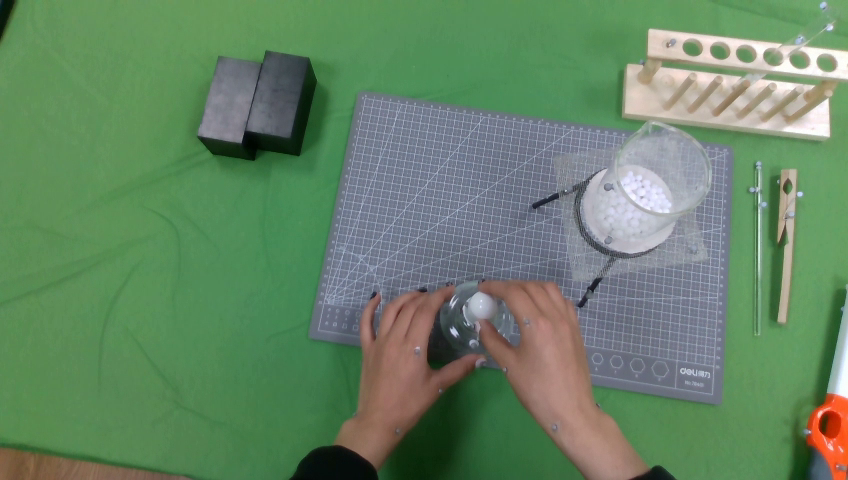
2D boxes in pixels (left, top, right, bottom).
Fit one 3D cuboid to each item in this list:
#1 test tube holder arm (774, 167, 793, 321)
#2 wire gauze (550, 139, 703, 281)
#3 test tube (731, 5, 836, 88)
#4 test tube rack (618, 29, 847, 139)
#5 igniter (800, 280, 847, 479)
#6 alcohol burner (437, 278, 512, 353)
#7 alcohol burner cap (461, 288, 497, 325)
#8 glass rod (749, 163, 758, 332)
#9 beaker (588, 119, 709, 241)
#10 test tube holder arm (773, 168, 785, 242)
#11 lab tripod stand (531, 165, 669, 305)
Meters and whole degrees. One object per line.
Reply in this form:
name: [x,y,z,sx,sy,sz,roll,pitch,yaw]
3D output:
test tube holder arm: [0.407,0.003,0.685,0.013,0.015,0.177,1,75,34]
wire gauze: [0.185,-0.031,0.561,0.121,0.011,0.124,-8,78,1]
test tube: [0.379,-0.201,0.649,0.017,0.150,0.017,1,76,-6]
test tube rack: [0.357,-0.176,0.693,0.242,0.085,0.066,7,76,1]
igniter: [0.435,0.173,0.641,0.057,0.025,0.275,22,77,-5]
alcohol burner: [0.053,0.073,0.613,0.078,0.119,0.077,0,74,-1]
alcohol burner cap: [0.054,0.061,0.573,0.034,0.048,0.033,1,72,-3]
glass rod: [0.375,0.005,0.689,0.008,0.008,0.199,8,76,1]
beaker: [0.183,-0.045,0.515,0.074,0.101,0.083,-6,76,0]
test tube holder arm: [0.409,-0.040,0.697,0.010,0.015,0.087,1,75,34]
lab tripod stand: [0.179,-0.014,0.625,0.148,0.132,0.147,0,77,2]
